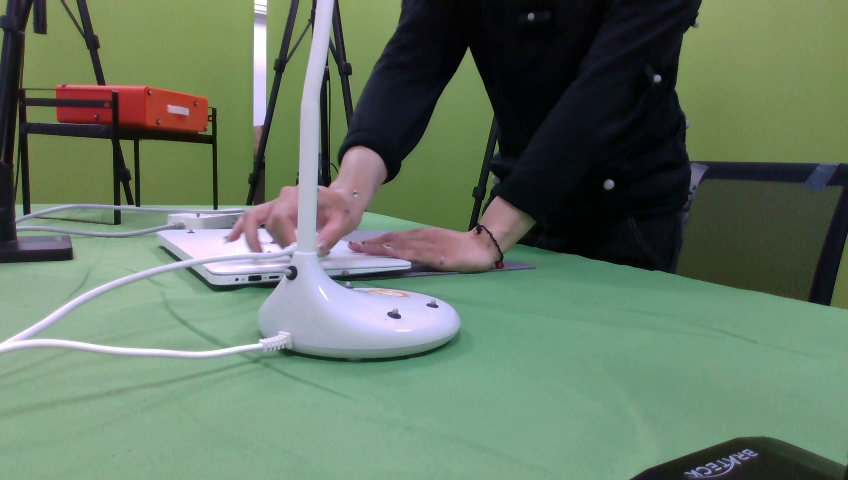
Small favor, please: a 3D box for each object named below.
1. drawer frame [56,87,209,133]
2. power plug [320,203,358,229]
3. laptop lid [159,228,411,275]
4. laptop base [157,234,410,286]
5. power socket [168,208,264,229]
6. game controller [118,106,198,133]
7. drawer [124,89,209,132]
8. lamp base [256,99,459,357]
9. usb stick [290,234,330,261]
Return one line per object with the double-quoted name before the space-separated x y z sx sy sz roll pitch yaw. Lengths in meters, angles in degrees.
"drawer frame" -0.598 -0.269 1.261 0.213 0.082 0.202 4 8 14
"power plug" -0.170 -0.046 1.208 0.073 0.052 0.035 -4 -16 -6
"laptop lid" -0.201 0.008 0.806 0.243 0.013 0.355 -1 8 -31
"laptop base" -0.204 0.020 0.806 0.237 0.023 0.352 0 7 -33
"power socket" -0.381 -0.038 1.128 0.072 0.032 0.227 4 8 16
"game controller" -0.555 -0.252 1.255 0.097 0.051 0.155 8 11 18
"drawer" -0.595 -0.268 1.263 0.211 0.073 0.195 4 8 15
"lamp base" -0.055 -0.014 0.463 0.160 0.180 0.180 6 11 27
"usb stick" -0.115 0.009 0.624 0.021 0.027 0.059 -16 0 13
